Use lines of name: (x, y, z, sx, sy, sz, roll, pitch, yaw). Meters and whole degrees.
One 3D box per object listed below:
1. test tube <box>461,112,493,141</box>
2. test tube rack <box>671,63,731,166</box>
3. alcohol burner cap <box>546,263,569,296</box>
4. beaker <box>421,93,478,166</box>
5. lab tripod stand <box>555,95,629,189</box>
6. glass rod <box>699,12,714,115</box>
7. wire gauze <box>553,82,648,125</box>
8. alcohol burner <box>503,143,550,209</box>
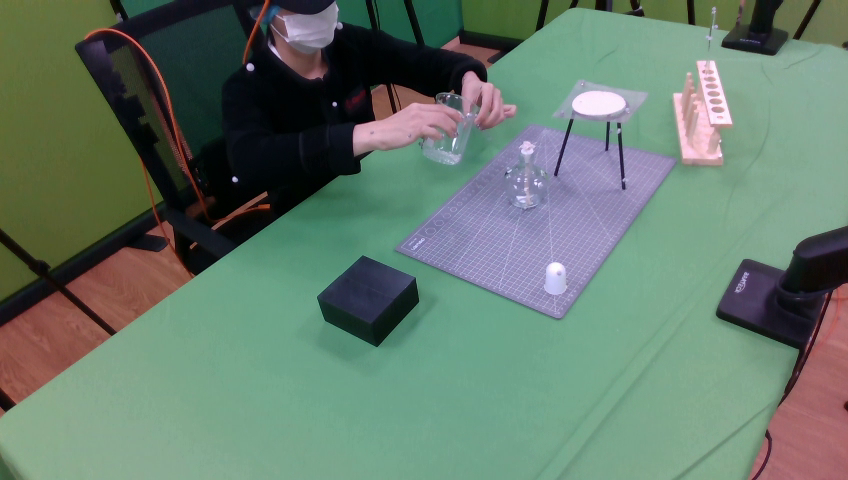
test tube: (0.100, -0.205, 1.104, 0.017, 0.017, 0.151, 13, 0, 24)
test tube rack: (0.513, -0.241, 1.132, 0.066, 0.085, 0.242, 4, 41, 14)
alcohol burner cap: (0.191, 0.053, 0.862, 0.034, 0.048, 0.033, -5, 40, 4)
beaker: (0.041, -0.178, 0.998, 0.073, 0.084, 0.100, 14, 82, 28)
lab tripod stand: (0.300, -0.174, 1.045, 0.148, 0.132, 0.147, -5, 38, 5)
glass rod: (0.525, -0.323, 1.124, 0.008, 0.201, 0.008, -8, 38, 6)
wire gauze: (0.293, -0.226, 1.002, 0.120, 0.011, 0.125, 17, 45, 27)
alcohol burner: (0.171, -0.112, 1.006, 0.078, 0.119, 0.077, -3, 41, 3)
